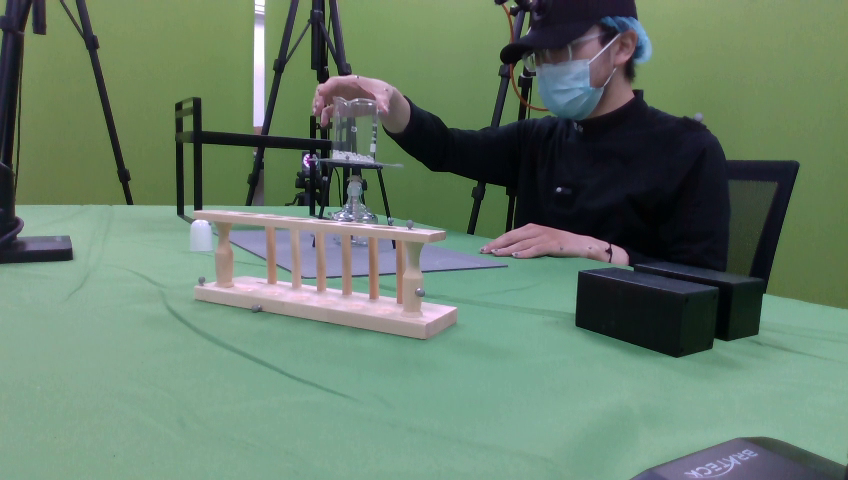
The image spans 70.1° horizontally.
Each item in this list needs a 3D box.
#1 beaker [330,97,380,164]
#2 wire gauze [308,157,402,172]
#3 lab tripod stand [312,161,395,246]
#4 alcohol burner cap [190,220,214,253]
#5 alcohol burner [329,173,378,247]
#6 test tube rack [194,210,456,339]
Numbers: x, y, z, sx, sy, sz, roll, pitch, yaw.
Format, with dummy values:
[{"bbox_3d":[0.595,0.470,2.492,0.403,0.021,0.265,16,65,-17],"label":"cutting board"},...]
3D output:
[{"bbox_3d":[-0.111,-0.171,0.952,0.074,0.100,0.084,5,8,6],"label":"beaker"},{"bbox_3d":[-0.111,-0.122,0.956,0.125,0.011,0.121,4,8,-22],"label":"wire gauze"},{"bbox_3d":[-0.111,-0.058,0.970,0.148,0.131,0.148,4,6,0],"label":"lab tripod stand"},{"bbox_3d":[-0.322,-0.006,0.875,0.034,0.048,0.034,3,8,0],"label":"alcohol burner cap"},{"bbox_3d":[-0.113,-0.049,0.972,0.078,0.119,0.078,1,9,0],"label":"alcohol burner"},{"bbox_3d":[-0.093,0.023,0.545,0.241,0.085,0.067,6,8,25],"label":"test tube rack"}]
